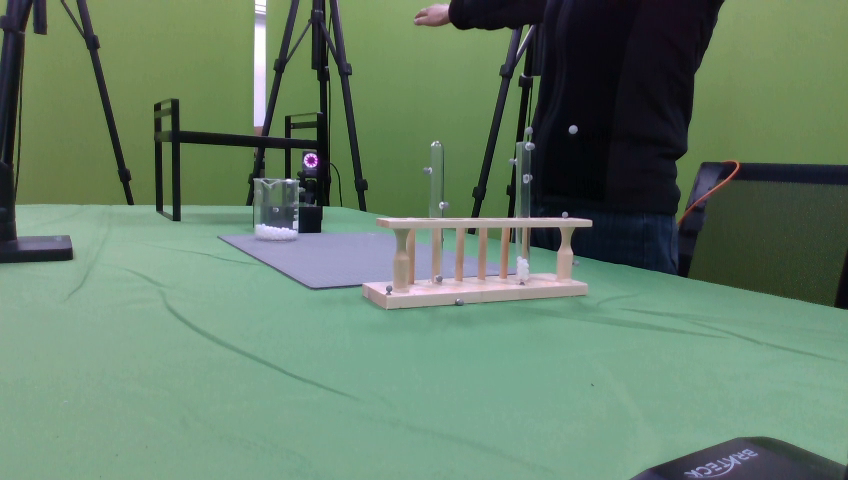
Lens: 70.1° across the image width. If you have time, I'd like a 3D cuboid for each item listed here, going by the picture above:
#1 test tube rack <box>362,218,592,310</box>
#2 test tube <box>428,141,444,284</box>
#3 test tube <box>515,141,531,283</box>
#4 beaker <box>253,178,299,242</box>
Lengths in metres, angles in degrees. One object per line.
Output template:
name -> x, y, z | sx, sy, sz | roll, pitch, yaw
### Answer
test tube rack -> 0.060, 0.019, 0.640 | 0.243, 0.085, 0.066 | -1, 8, -27
test tube -> 0.013, -0.027, 0.629 | 0.017, 0.150, 0.017 | 1, 8, 0
test tube -> 0.104, -0.028, 0.636 | 0.017, 0.150, 0.017 | -1, 12, 1
beaker -> -0.243, -0.050, 0.990 | 0.074, 0.100, 0.084 | 2, 9, 1
